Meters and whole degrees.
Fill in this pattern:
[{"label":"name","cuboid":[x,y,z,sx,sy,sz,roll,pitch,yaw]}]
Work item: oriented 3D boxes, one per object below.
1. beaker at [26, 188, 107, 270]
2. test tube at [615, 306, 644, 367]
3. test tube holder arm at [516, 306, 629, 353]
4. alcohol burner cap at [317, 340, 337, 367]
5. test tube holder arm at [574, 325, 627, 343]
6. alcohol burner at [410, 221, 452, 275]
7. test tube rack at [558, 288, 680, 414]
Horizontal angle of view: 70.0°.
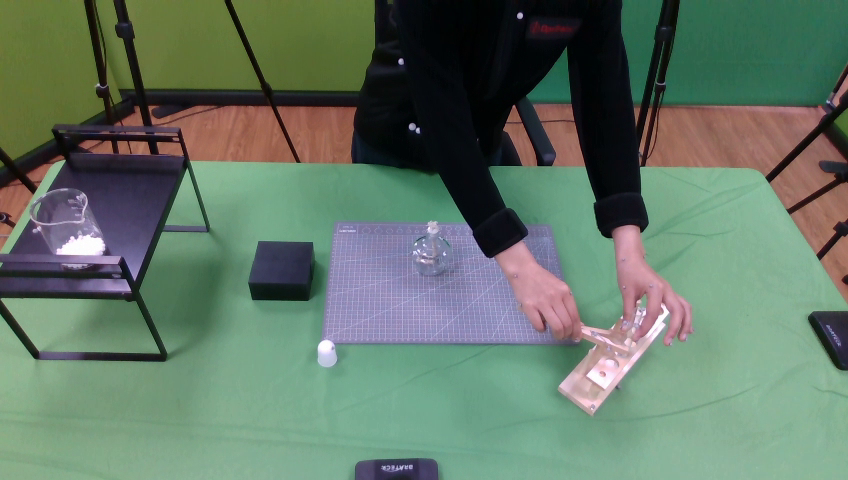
[{"label":"beaker","cuboid":[-0.503,-0.012,0.867,0.084,0.101,0.074,23,49,17]},{"label":"test tube","cuboid":[0.311,0.152,0.923,0.017,0.151,0.017,-1,46,2]},{"label":"test tube holder arm","cuboid":[0.225,0.135,0.922,0.178,0.015,0.013,19,38,-2]},{"label":"alcohol burner cap","cuboid":[-0.161,0.183,0.994,0.034,0.048,0.033,2,46,-2]},{"label":"test tube holder arm","cuboid":[0.269,0.144,0.930,0.088,0.015,0.010,11,40,-12]},{"label":"alcohol burner","cuboid":[0.013,0.008,1.119,0.078,0.120,0.077,1,48,-1]},{"label":"test tube rack","cuboid":[0.327,0.171,1.008,0.066,0.085,0.242,35,54,27]}]
